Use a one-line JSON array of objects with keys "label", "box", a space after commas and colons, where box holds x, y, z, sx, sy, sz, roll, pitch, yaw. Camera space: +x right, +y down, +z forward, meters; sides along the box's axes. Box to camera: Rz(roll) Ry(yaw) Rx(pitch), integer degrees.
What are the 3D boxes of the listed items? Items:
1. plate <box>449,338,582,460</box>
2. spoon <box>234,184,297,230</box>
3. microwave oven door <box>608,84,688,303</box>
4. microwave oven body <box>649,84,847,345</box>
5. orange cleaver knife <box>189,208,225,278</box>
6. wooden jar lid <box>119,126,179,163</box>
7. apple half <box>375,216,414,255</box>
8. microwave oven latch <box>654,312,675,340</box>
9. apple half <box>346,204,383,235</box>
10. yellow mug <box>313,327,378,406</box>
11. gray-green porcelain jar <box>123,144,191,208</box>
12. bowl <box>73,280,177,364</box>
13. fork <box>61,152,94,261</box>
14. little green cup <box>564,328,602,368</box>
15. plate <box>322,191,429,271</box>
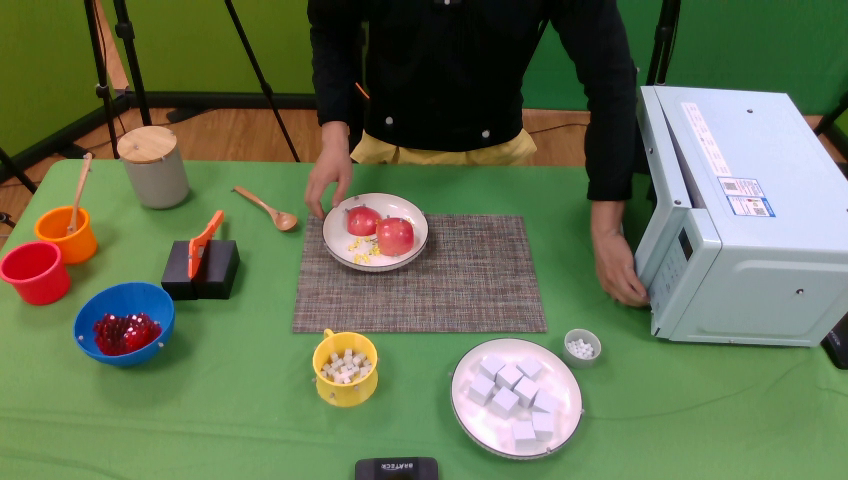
[{"label": "plate", "box": [0.141, 0.251, 0.956, 0.208, 0.039, 0.206, 2, 46, -2]}, {"label": "spoon", "box": [-0.327, -0.073, 1.239, 0.193, 0.022, 0.041, 34, 71, 25]}, {"label": "microwave oven door", "box": [0.412, -0.097, 1.138, 0.039, 0.245, 0.353, 5, 47, 2]}, {"label": "microwave oven body", "box": [0.569, -0.054, 1.116, 0.326, 0.261, 0.439, 2, 46, -1]}, {"label": "orange cleaver knife", "box": [-0.400, 0.002, 1.122, 0.012, 0.077, 0.210, 5, 23, -4]}, {"label": "wooden jar lid", "box": [-0.528, -0.181, 1.167, 0.108, 0.021, 0.107, 3, 47, -3]}, {"label": "apple half", "box": [-0.055, -0.017, 1.169, 0.075, 0.053, 0.080, 0, 45, -7]}, {"label": "microwave oven latch", "box": [0.418, 0.135, 1.058, 0.030, 0.029, 0.079, 13, 46, 10]}, {"label": "apple half", "box": [-0.119, -0.049, 1.207, 0.081, 0.033, 0.081, 3, 51, -3]}, {"label": "yellow mug", "box": [-0.131, 0.193, 0.971, 0.100, 0.064, 0.130, -22, 51, -22]}, {"label": "gray-green porcelain jar", "box": [-0.530, -0.137, 1.213, 0.106, 0.127, 0.105, 2, 47, -2]}, {"label": "bowl", "box": [-0.472, 0.147, 0.982, 0.151, 0.077, 0.150, 2, 46, -2]}, {"label": "fork", "box": [-0.638, -0.063, 1.120, 0.028, 0.018, 0.207, 12, 90, 8]}, {"label": "little green cup", "box": [0.266, 0.184, 1.025, 0.061, 0.039, 0.061, 2, 45, -2]}, {"label": "plate", "box": [-0.093, -0.015, 1.185, 0.209, 0.038, 0.208, 2, 46, -2]}]
